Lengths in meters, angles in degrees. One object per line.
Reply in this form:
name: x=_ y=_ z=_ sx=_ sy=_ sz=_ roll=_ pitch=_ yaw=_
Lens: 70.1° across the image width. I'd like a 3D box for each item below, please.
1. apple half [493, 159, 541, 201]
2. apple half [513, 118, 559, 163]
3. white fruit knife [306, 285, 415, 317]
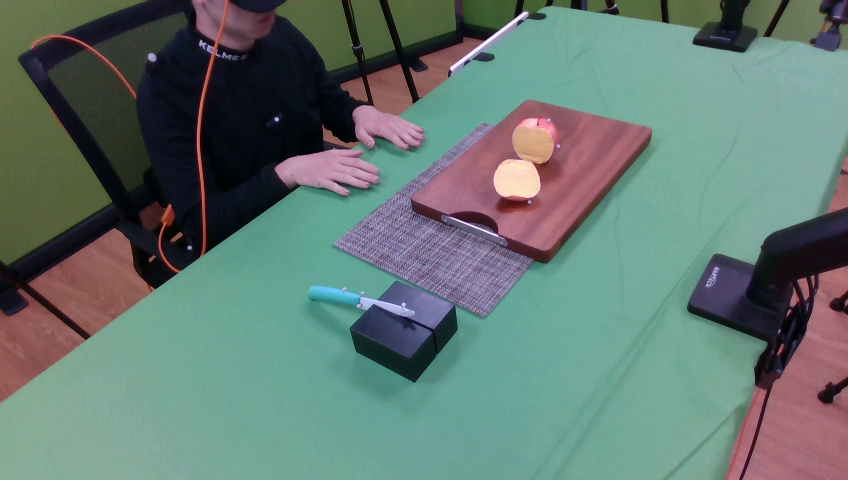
apple half: x=0.153 y=-0.095 z=0.999 sx=0.081 sy=0.033 sz=0.081 roll=-1 pitch=64 yaw=2
apple half: x=0.202 y=-0.179 z=1.066 sx=0.080 sy=0.075 sz=0.053 roll=14 pitch=41 yaw=29
white fruit knife: x=-0.092 y=0.085 z=0.837 sx=0.206 sy=0.027 sz=0.016 roll=6 pitch=36 yaw=36
